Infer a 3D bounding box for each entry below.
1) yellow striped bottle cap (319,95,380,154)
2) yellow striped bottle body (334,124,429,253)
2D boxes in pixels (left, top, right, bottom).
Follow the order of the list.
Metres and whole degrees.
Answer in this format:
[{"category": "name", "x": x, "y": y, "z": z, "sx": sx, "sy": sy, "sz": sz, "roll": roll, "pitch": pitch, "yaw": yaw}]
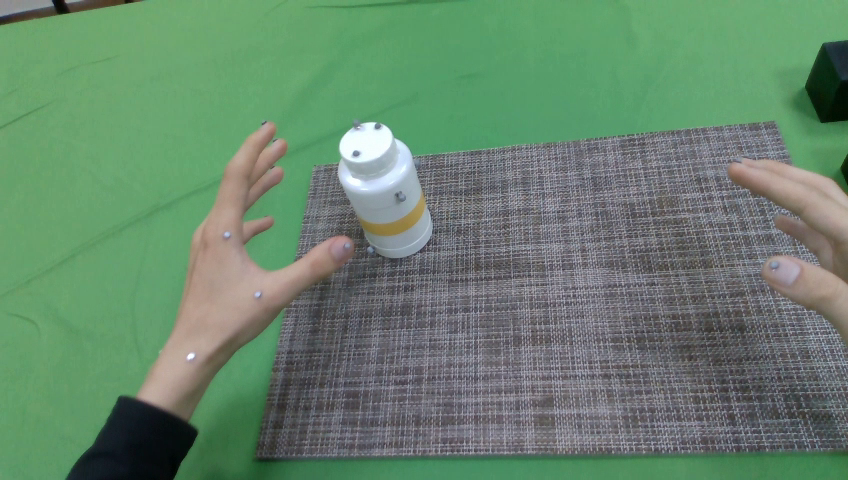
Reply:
[{"category": "yellow striped bottle cap", "x": -0.056, "y": -0.087, "z": 0.457, "sx": 0.044, "sy": 0.019, "sz": 0.044, "roll": -6, "pitch": 62, "yaw": 12}, {"category": "yellow striped bottle body", "x": -0.037, "y": -0.046, "z": 0.516, "sx": 0.063, "sy": 0.121, "sz": 0.062, "roll": -6, "pitch": 55, "yaw": 9}]
